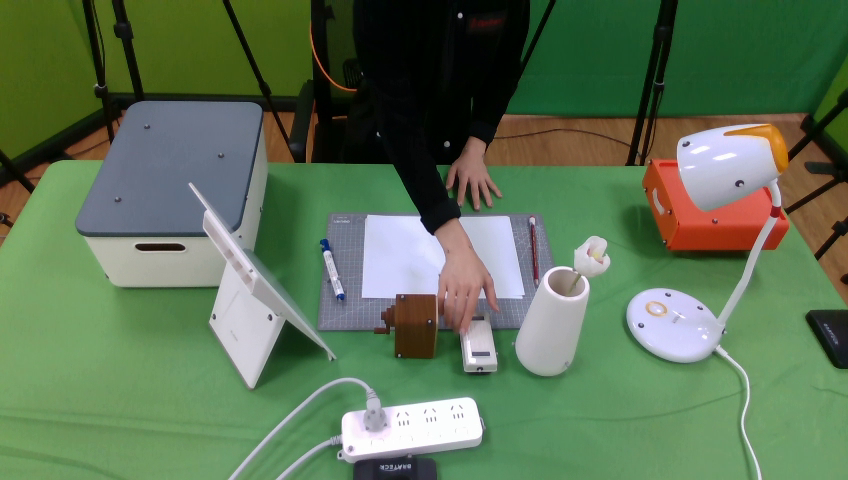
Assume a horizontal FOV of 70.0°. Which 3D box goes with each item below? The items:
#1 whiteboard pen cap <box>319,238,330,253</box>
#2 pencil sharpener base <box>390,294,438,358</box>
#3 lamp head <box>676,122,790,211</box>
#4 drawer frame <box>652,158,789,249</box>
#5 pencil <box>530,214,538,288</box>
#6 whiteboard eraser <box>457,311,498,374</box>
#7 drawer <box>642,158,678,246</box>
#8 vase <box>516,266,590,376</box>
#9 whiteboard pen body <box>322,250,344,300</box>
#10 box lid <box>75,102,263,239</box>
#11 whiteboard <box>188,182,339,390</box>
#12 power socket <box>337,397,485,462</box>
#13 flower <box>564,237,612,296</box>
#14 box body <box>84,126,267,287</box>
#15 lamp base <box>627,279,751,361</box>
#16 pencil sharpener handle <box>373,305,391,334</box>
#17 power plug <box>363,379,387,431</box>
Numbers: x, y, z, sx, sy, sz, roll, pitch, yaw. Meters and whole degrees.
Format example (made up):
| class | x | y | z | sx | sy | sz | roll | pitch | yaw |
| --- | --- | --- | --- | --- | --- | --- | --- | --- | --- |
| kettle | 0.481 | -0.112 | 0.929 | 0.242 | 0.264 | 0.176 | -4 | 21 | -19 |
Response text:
| class | x | y | z | sx | sy | sz | roll | pitch | yaw |
| --- | --- | --- | --- | --- | --- | --- | --- | --- | --- |
| whiteboard pen cap | -0.190 | 0.013 | 1.163 | 0.018 | 0.018 | 0.033 | -13 | 49 | -16 |
| pencil sharpener base | -0.018 | 0.143 | 1.000 | 0.077 | 0.107 | 0.061 | 1 | 46 | -2 |
| lamp head | 0.423 | -0.104 | 0.819 | 0.122 | 0.113 | 0.112 | -13 | 33 | 40 |
| drawer frame | 0.571 | -0.075 | 1.214 | 0.214 | 0.083 | 0.200 | 0 | 45 | -1 |
| pencil | 0.218 | 0.019 | 1.202 | 0.012 | 0.012 | 0.193 | 6 | 48 | 1 |
| whiteboard eraser | 0.090 | 0.173 | 1.025 | 0.055 | 0.042 | 0.112 | -2 | 47 | -4 |
| drawer | 0.566 | -0.076 | 1.211 | 0.212 | 0.073 | 0.193 | 2 | 45 | -2 |
| vase | 0.208 | 0.132 | 0.965 | 0.098 | 0.201 | 0.097 | 3 | 46 | -3 |
| whiteboard pen body | -0.173 | 0.056 | 1.127 | 0.017 | 0.017 | 0.140 | -12 | 49 | -16 |
| box lid | -0.443 | -0.138 | 1.094 | 0.263 | 0.015 | 0.369 | -1 | 47 | -5 |
| whiteboard | -0.292 | 0.096 | 0.929 | 0.144 | 0.307 | 0.216 | -38 | 57 | -10 |
| power socket | -0.018 | 0.285 | 0.915 | 0.227 | 0.033 | 0.071 | -5 | 46 | -8 |
| flower | 0.206 | 0.088 | 0.893 | 0.038 | 0.363 | 0.044 | -17 | 67 | -9 |
| box body | -0.446 | -0.088 | 1.150 | 0.254 | 0.161 | 0.361 | -1 | 46 | -5 |
| lamp base | 0.459 | 0.100 | 1.027 | 0.178 | 0.181 | 0.160 | 27 | 51 | 17 |
| pencil sharpener handle | -0.068 | 0.133 | 0.989 | 0.030 | 0.068 | 0.036 | 1 | 47 | -2 |
| power plug | -0.072 | 0.252 | 0.910 | 0.035 | 0.053 | 0.072 | 3 | 44 | -1 |
